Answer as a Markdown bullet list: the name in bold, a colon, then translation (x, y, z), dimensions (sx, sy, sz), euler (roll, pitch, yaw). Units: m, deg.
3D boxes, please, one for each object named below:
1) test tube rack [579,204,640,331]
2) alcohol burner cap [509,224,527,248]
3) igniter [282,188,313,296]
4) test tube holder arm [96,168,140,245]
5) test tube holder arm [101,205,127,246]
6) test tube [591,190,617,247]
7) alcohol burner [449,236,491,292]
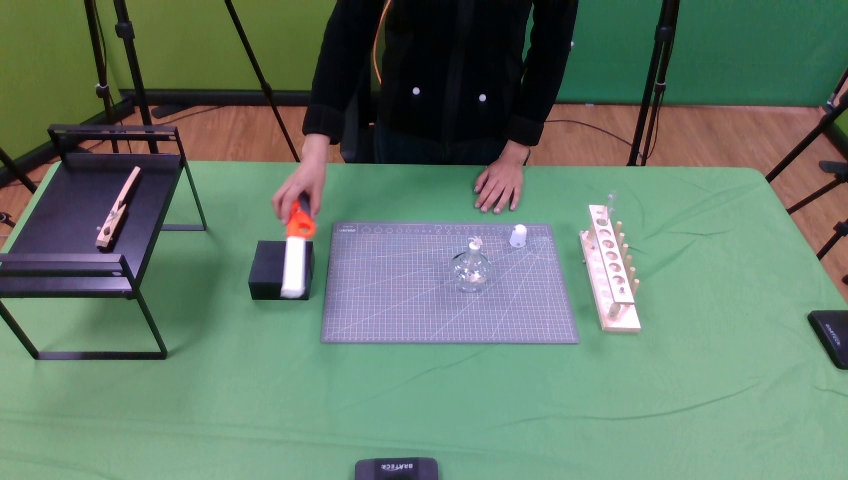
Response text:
- **test tube rack**: translation (0.353, 0.047, 1.137), dimensions (0.067, 0.085, 0.241), euler (2, 46, -2)
- **alcohol burner cap**: translation (0.189, -0.011, 1.206), dimensions (0.034, 0.048, 0.033), euler (2, 46, -1)
- **igniter**: translation (-0.224, -0.007, 1.067), dimensions (0.057, 0.025, 0.274), euler (10, 39, -16)
- **test tube holder arm**: translation (-0.486, -0.058, 0.968), dimensions (0.013, 0.015, 0.177), euler (27, 37, -27)
- **test tube holder arm**: translation (-0.480, -0.024, 0.938), dimensions (0.010, 0.015, 0.087), euler (27, 37, -26)
- **test tube**: translation (0.340, -0.038, 1.149), dimensions (0.017, 0.151, 0.017), euler (1, 50, -1)
- **alcohol burner**: translation (0.086, 0.038, 1.101), dimensions (0.078, 0.119, 0.077), euler (3, 44, -2)
